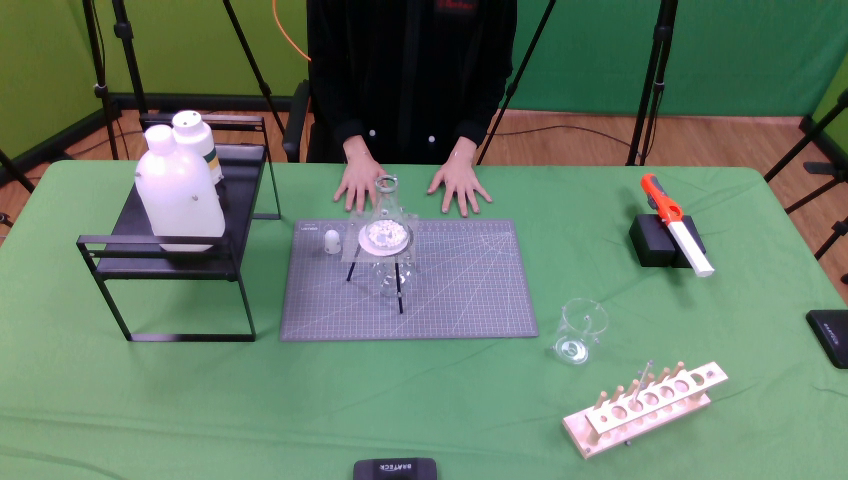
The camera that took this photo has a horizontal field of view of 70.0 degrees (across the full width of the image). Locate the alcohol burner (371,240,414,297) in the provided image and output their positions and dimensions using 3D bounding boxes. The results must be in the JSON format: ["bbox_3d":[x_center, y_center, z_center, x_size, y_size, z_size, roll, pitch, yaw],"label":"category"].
[{"bbox_3d":[-0.057,0.046,1.082,0.078,0.120,0.077,0,46,0],"label":"alcohol burner"}]

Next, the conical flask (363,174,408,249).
[{"bbox_3d":[-0.063,-0.050,0.985,0.075,0.122,0.075,2,46,-1],"label":"conical flask"}]

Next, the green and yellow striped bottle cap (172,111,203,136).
[{"bbox_3d":[-0.374,-0.185,0.958,0.045,0.020,0.045,3,46,-3],"label":"green and yellow striped bottle cap"}]

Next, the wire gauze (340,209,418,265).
[{"bbox_3d":[-0.074,-0.006,1.024,0.121,0.011,0.124,2,48,1],"label":"wire gauze"}]

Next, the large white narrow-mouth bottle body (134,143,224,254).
[{"bbox_3d":[-0.358,-0.075,0.875,0.102,0.195,0.101,1,48,-1],"label":"large white narrow-mouth bottle body"}]

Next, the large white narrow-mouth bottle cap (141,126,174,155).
[{"bbox_3d":[-0.356,-0.134,0.810,0.038,0.024,0.037,2,48,-1],"label":"large white narrow-mouth bottle cap"}]

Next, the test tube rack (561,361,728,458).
[{"bbox_3d":[0.341,0.248,0.940,0.243,0.085,0.066,-15,49,-18],"label":"test tube rack"}]

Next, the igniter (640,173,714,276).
[{"bbox_3d":[0.495,-0.039,1.204,0.057,0.025,0.274,-2,47,-12],"label":"igniter"}]

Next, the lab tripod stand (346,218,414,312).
[{"bbox_3d":[-0.069,0.037,1.075,0.148,0.132,0.147,1,47,-1],"label":"lab tripod stand"}]

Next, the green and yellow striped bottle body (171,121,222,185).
[{"bbox_3d":[-0.375,-0.149,0.995,0.063,0.120,0.063,2,46,-2],"label":"green and yellow striped bottle body"}]

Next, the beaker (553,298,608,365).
[{"bbox_3d":[0.260,0.154,1.015,0.073,0.101,0.084,37,54,27],"label":"beaker"}]

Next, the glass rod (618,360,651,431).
[{"bbox_3d":[0.298,0.227,0.865,0.008,0.201,0.008,-2,47,2],"label":"glass rod"}]

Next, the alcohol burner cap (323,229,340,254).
[{"bbox_3d":[-0.179,0.001,1.165,0.034,0.048,0.033,2,45,-2],"label":"alcohol burner cap"}]
